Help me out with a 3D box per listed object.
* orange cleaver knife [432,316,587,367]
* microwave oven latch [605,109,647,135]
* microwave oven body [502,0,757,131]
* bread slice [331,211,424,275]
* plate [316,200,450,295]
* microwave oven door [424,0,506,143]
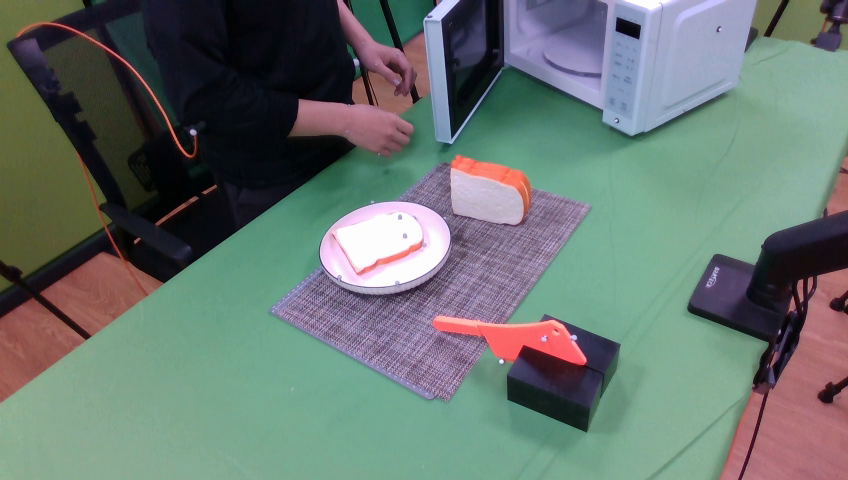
[{"bbox_3d":[0.101,0.127,0.761,0.210,0.077,0.012,-1,34,40],"label":"orange cleaver knife"},{"bbox_3d":[0.378,-0.225,1.139,0.030,0.029,0.078,-26,43,-20],"label":"microwave oven latch"},{"bbox_3d":[0.396,-0.448,1.248,0.327,0.261,0.437,-27,44,-21],"label":"microwave oven body"},{"bbox_3d":[-0.069,-0.001,0.960,0.135,0.018,0.106,-23,46,-21],"label":"bread slice"},{"bbox_3d":[-0.062,0.015,0.944,0.207,0.039,0.206,-4,41,4],"label":"plate"},{"bbox_3d":[0.093,-0.392,1.218,0.039,0.245,0.356,11,44,21],"label":"microwave oven door"}]
